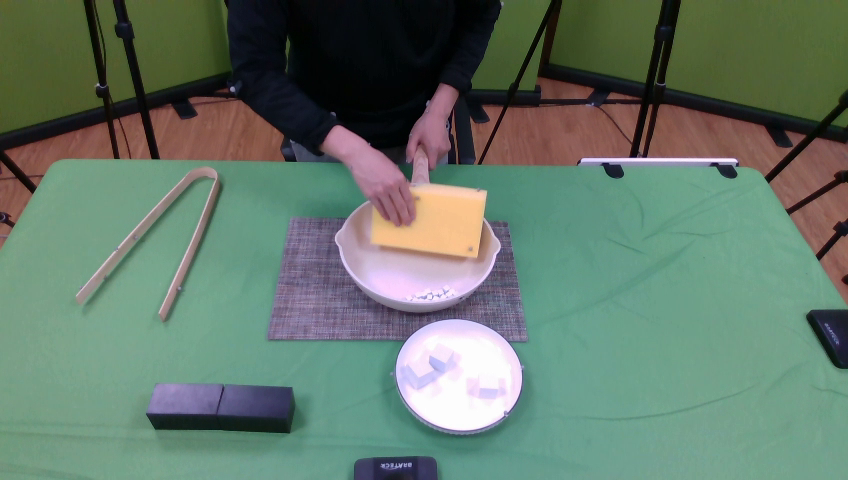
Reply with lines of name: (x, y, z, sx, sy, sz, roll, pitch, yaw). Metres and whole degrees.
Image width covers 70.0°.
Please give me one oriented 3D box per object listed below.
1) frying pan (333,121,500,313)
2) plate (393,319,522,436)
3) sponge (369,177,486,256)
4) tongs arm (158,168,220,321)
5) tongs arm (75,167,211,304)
frying pan: (-0.011, -0.063, 1.195, 0.307, 0.103, 0.485, 4, 55, -2)
plate: (0.053, 0.222, 0.979, 0.208, 0.039, 0.206, 3, 46, -2)
sponge: (0.006, -0.045, 1.139, 0.207, 0.118, 0.060, 7, 21, 5)
tongs arm: (-0.446, -0.006, 1.164, 0.028, 0.028, 0.385, 1, 46, 1)
tongs arm: (-0.526, -0.021, 1.167, 0.051, 0.026, 0.383, 13, 46, 7)
